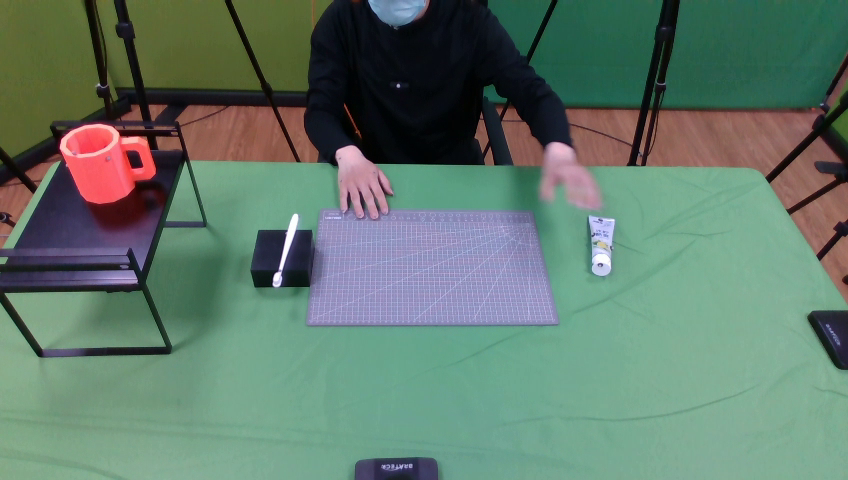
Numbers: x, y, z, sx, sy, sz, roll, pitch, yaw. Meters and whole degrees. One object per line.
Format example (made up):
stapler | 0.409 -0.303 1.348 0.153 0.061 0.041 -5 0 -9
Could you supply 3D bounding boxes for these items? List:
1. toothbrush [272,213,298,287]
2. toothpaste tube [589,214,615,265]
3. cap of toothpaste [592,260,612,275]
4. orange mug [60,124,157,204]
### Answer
toothbrush | -0.252 0.012 1.104 0.014 0.017 0.180 2 46 2
toothpaste tube | 0.360 0.002 1.220 0.055 0.035 0.164 14 43 3
cap of toothpaste | 0.341 0.052 1.162 0.037 0.037 0.011 10 43 6
orange mug | -0.505 -0.127 0.980 0.126 0.101 0.083 -13 48 -10
